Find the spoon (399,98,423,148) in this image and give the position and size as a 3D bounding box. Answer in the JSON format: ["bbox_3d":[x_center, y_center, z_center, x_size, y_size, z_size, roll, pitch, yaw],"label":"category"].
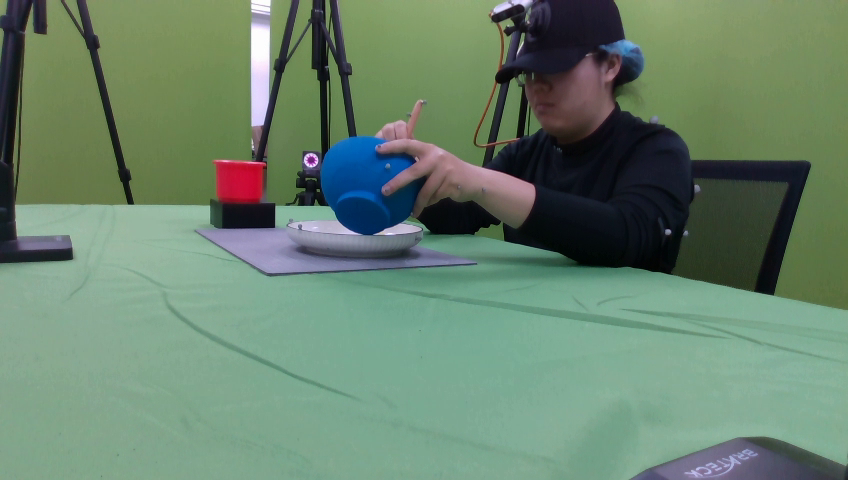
[{"bbox_3d":[-0.041,-0.137,0.921,0.041,0.193,0.022,2,-32,46],"label":"spoon"}]

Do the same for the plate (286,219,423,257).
[{"bbox_3d":[-0.105,-0.003,0.922,0.208,0.039,0.207,3,7,0],"label":"plate"}]

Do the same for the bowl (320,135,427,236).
[{"bbox_3d":[-0.076,-0.059,0.822,0.151,0.151,0.077,3,49,10],"label":"bowl"}]
